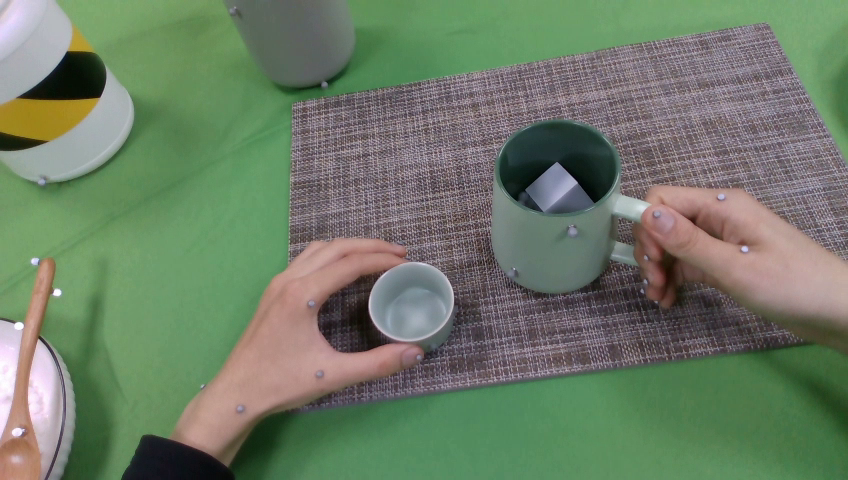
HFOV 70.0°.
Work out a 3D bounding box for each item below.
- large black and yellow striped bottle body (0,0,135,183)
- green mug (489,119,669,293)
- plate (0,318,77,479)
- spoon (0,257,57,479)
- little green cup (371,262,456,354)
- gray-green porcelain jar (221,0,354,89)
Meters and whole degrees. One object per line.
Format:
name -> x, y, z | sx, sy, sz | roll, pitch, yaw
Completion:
large black and yellow striped bottle body -> -0.361, -0.151, 0.528 | 0.130, 0.186, 0.129 | -4, 60, 7
green mug -> 0.106, -0.016, 0.421 | 0.124, 0.106, 0.092 | 20, 64, 19
plate -> -0.346, 0.157, 0.436 | 0.209, 0.038, 0.207 | -4, 60, 7
spoon -> -0.289, 0.099, 0.442 | 0.041, 0.022, 0.192 | -7, 68, 4
little green cup -> -0.006, 0.052, 0.438 | 0.061, 0.039, 0.061 | -5, 57, 8
gray-green porcelain jar -> -0.126, -0.215, 0.564 | 0.106, 0.127, 0.105 | -4, 60, 7
